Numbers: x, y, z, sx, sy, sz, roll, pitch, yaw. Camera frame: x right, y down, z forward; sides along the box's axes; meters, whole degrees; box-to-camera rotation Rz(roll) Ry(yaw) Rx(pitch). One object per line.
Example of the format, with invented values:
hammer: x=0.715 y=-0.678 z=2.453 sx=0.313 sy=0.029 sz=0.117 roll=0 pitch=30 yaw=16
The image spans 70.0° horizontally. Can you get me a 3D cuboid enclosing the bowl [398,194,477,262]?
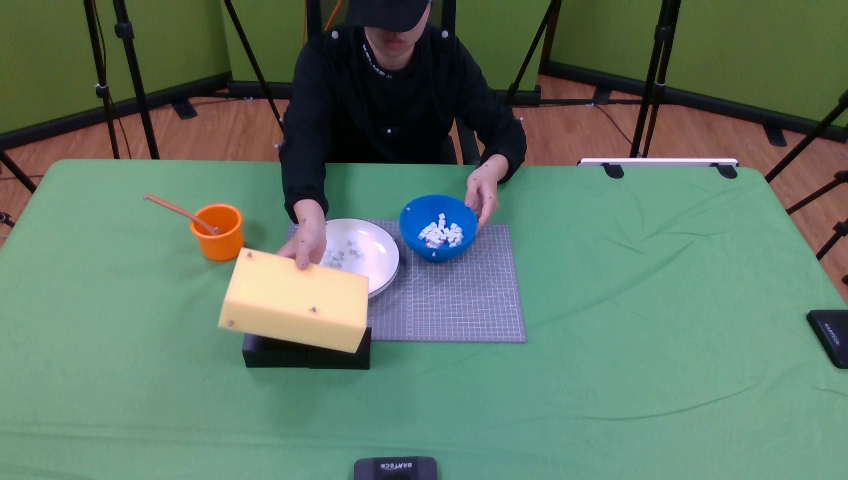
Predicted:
bowl: x=0.023 y=-0.011 z=1.167 sx=0.151 sy=0.077 sz=0.150 roll=2 pitch=46 yaw=-2

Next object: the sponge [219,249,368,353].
sponge: x=-0.194 y=0.094 z=0.932 sx=0.207 sy=0.061 sz=0.117 roll=14 pitch=37 yaw=-15

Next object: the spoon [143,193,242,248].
spoon: x=-0.421 y=-0.037 z=1.113 sx=0.021 sy=0.195 sz=0.041 roll=-36 pitch=37 yaw=24

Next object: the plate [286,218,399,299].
plate: x=-0.150 y=0.042 z=1.131 sx=0.209 sy=0.038 sz=0.208 roll=2 pitch=45 yaw=-2
